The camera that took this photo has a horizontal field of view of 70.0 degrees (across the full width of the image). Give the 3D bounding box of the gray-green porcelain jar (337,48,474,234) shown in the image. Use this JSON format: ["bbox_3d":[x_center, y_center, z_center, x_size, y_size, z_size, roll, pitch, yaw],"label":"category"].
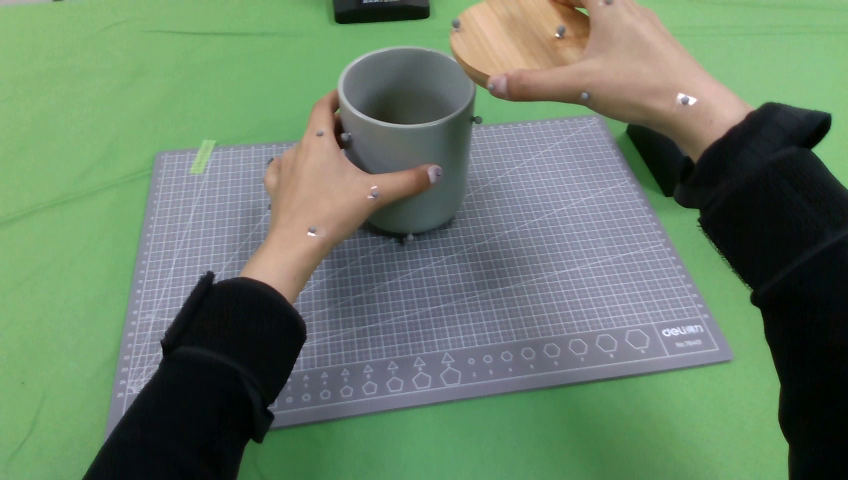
[{"bbox_3d":[-0.015,-0.076,0.505,0.106,0.127,0.105,1,49,-1],"label":"gray-green porcelain jar"}]

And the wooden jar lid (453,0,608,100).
[{"bbox_3d":[0.074,-0.134,0.429,0.108,0.021,0.107,0,50,1],"label":"wooden jar lid"}]
